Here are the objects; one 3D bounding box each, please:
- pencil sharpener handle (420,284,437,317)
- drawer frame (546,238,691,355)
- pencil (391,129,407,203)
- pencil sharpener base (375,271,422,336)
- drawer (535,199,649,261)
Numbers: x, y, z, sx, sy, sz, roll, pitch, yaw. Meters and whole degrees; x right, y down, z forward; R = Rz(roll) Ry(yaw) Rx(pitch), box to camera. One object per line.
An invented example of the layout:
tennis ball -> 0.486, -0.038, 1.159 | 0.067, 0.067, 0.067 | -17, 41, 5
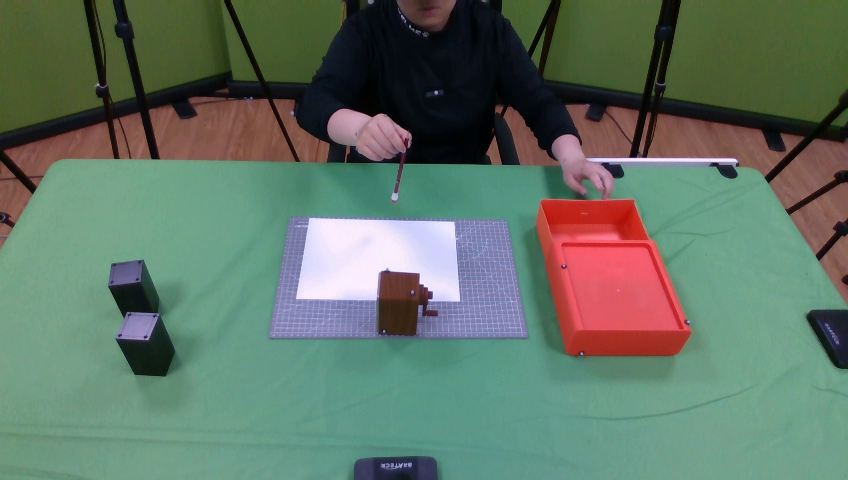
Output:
pencil sharpener handle -> 0.009, 0.104, 1.017 | 0.030, 0.068, 0.036 | 3, 40, -2
drawer frame -> 0.338, 0.097, 1.086 | 0.202, 0.083, 0.212 | 0, 46, -4
pencil -> -0.045, -0.131, 1.103 | 0.012, 0.195, 0.012 | 6, 53, -7
pencil sharpener base -> -0.043, 0.109, 1.025 | 0.077, 0.107, 0.061 | 3, 45, -2
drawer -> 0.332, 0.015, 1.169 | 0.195, 0.073, 0.210 | 0, 46, -5
